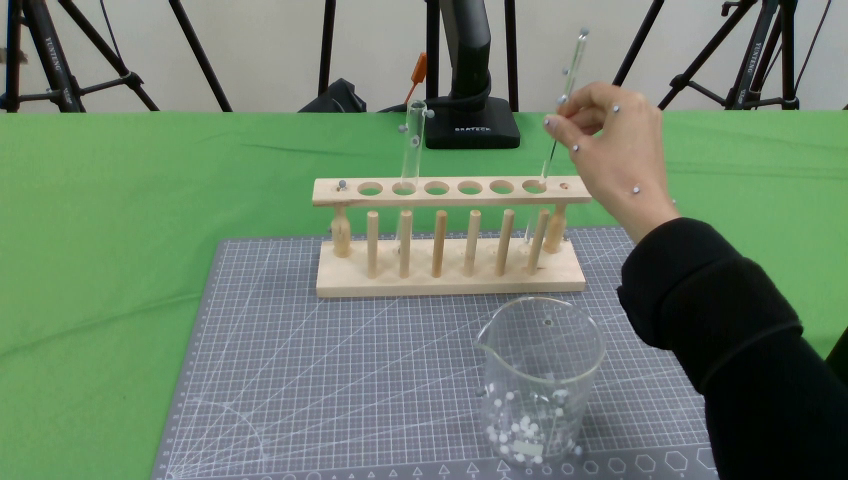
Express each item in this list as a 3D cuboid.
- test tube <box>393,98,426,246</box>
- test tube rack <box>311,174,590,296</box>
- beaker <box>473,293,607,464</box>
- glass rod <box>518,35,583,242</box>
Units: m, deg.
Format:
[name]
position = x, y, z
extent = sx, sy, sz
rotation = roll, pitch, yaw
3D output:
[test tube]
position = -0.014, -0.052, 0.523
extent = 0.017, 0.151, 0.017
rotation = 5, 41, -4
[test tube rack]
position = 0.023, -0.005, 0.546
extent = 0.242, 0.086, 0.066
rotation = -1, 40, -4
[beaker]
position = 0.072, 0.097, 0.411
extent = 0.084, 0.101, 0.073
rotation = 0, 39, -1
[glass rod]
position = 0.103, -0.075, 0.512
extent = 0.008, 0.201, 0.008
rotation = 5, 40, -4
